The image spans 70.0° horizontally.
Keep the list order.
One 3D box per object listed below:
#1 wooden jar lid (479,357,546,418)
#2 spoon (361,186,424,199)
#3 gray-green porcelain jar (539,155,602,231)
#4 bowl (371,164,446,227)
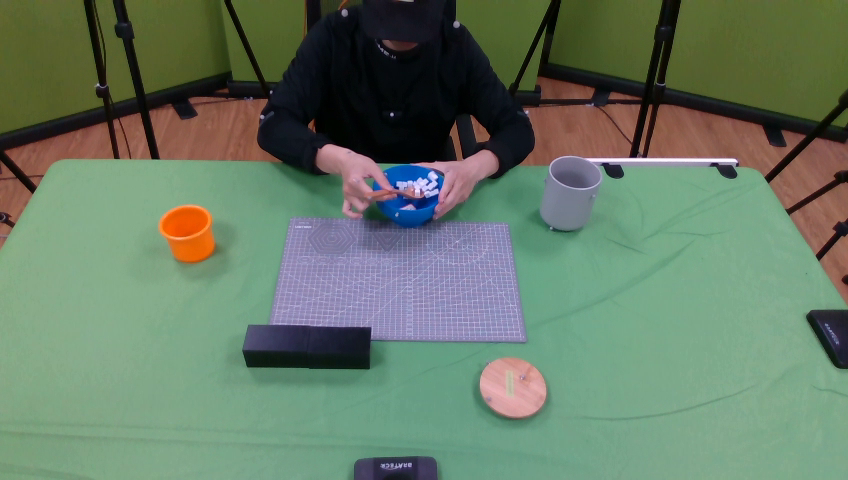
[{"bbox_3d":[0.142,0.240,0.979,0.108,0.021,0.107,1,46,-1],"label":"wooden jar lid"},{"bbox_3d":[-0.060,-0.091,1.168,0.041,0.021,0.194,37,21,24],"label":"spoon"},{"bbox_3d":[0.294,-0.091,1.235,0.106,0.127,0.105,2,46,-2],"label":"gray-green porcelain jar"},{"bbox_3d":[-0.032,-0.079,1.229,0.151,0.077,0.150,2,44,-2],"label":"bowl"}]
